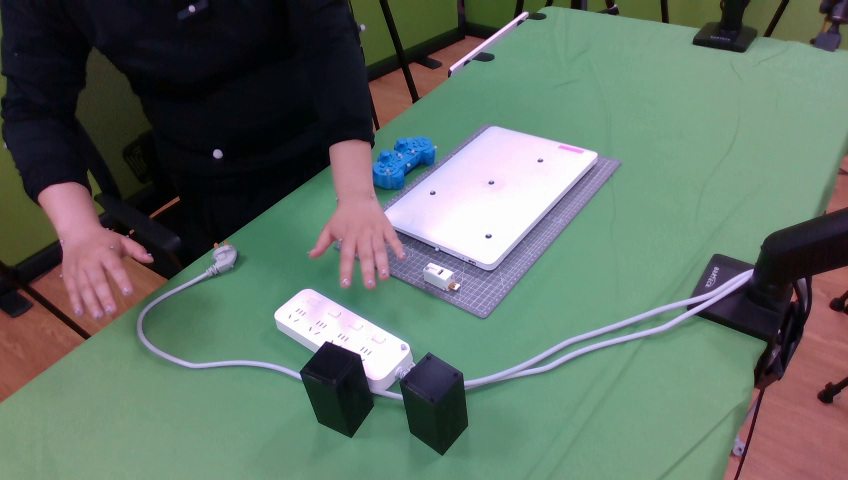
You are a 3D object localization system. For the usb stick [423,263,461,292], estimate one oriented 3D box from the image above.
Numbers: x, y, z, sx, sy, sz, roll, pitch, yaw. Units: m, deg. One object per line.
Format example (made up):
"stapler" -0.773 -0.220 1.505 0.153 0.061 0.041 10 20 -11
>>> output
"usb stick" 0.028 0.057 0.889 0.058 0.027 0.021 25 50 30

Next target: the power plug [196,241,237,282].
"power plug" -0.336 0.030 0.968 0.073 0.035 0.052 -17 58 -30

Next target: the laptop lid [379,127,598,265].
"laptop lid" 0.117 -0.095 1.048 0.239 0.013 0.358 23 49 34

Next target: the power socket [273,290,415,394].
"power socket" -0.115 0.133 0.820 0.225 0.033 0.072 24 48 31

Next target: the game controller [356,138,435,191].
"game controller" -0.049 -0.150 1.136 0.096 0.052 0.155 27 51 28

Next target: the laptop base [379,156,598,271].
"laptop base" 0.120 -0.085 1.054 0.233 0.023 0.355 21 48 34
